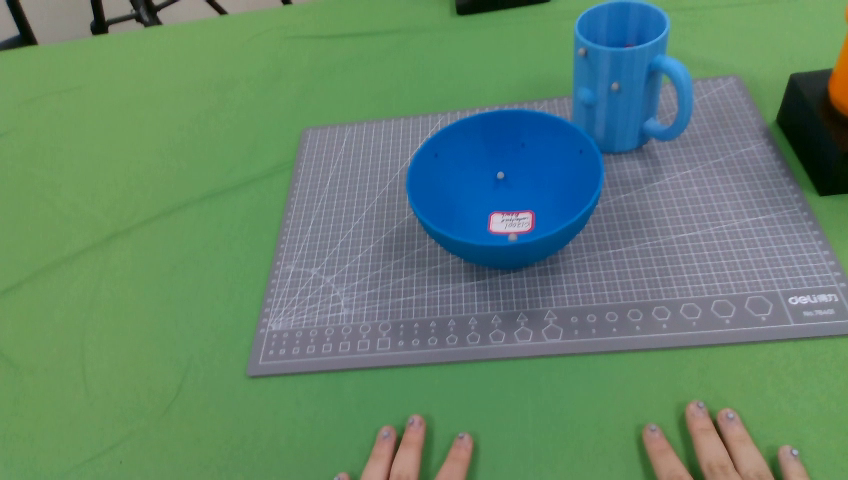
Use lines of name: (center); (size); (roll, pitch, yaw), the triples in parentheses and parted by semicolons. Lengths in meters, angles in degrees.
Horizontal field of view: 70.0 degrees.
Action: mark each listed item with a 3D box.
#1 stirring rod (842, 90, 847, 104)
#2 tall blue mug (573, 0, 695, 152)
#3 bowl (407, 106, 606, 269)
stirring rod: (0.382, -0.163, 0.428); (0.176, 0.006, 0.014); (-46, 42, 29)
tall blue mug: (0.186, -0.140, 0.532); (0.106, 0.109, 0.077); (15, 54, 23)
bowl: (0.066, -0.029, 0.485); (0.151, 0.077, 0.150); (-6, 49, 7)
